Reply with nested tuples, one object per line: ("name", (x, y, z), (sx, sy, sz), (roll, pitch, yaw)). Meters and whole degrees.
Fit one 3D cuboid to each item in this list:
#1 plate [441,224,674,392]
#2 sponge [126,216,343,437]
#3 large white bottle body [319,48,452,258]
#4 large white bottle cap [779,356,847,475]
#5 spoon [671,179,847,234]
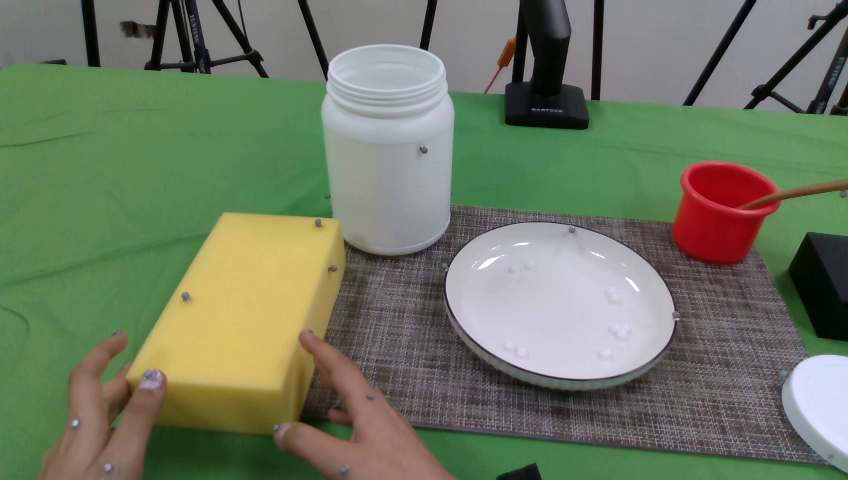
("plate", (0.119, 0.061, 0.561), (0.209, 0.038, 0.207), (2, 39, -1))
("sponge", (-0.150, 0.064, 0.529), (0.118, 0.061, 0.205), (3, 38, 4))
("large white bottle body", (-0.038, -0.089, 0.621), (0.130, 0.186, 0.129), (1, 39, 0))
("large white bottle cap", (0.349, 0.142, 0.487), (0.115, 0.018, 0.113), (3, 39, -2))
("spoon", (0.339, -0.035, 0.604), (0.041, 0.193, 0.022), (-36, 98, -38))
